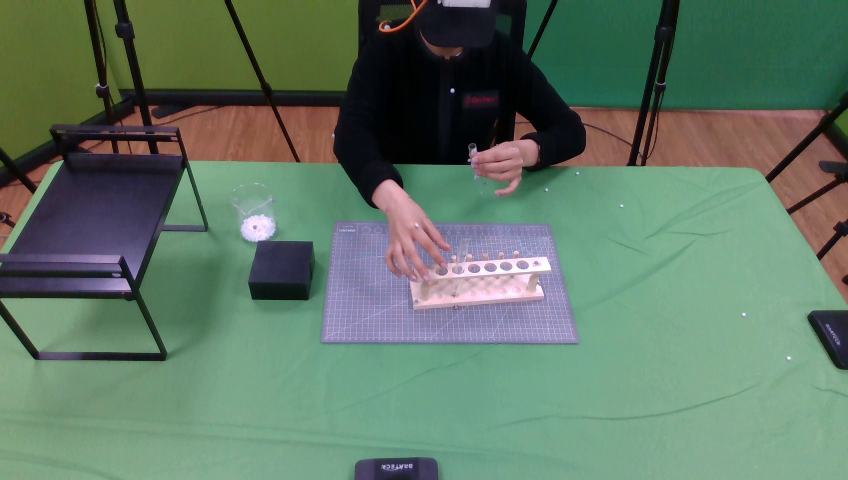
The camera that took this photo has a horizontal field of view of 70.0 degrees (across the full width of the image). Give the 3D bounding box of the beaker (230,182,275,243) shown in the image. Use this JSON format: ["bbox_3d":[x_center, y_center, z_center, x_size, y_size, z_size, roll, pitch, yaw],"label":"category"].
[{"bbox_3d":[-0.328,-0.049,1.166,0.074,0.101,0.083,2,47,-2],"label":"beaker"}]

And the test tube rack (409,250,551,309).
[{"bbox_3d":[0.098,0.065,1.096,0.243,0.085,0.066,-4,47,-8],"label":"test tube rack"}]

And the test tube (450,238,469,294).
[{"bbox_3d":[0.060,0.048,1.040,0.017,0.151,0.017,3,51,-3],"label":"test tube"}]

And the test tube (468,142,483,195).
[{"bbox_3d":[0.103,-0.138,1.203,0.017,0.151,0.017,-6,56,8],"label":"test tube"}]
